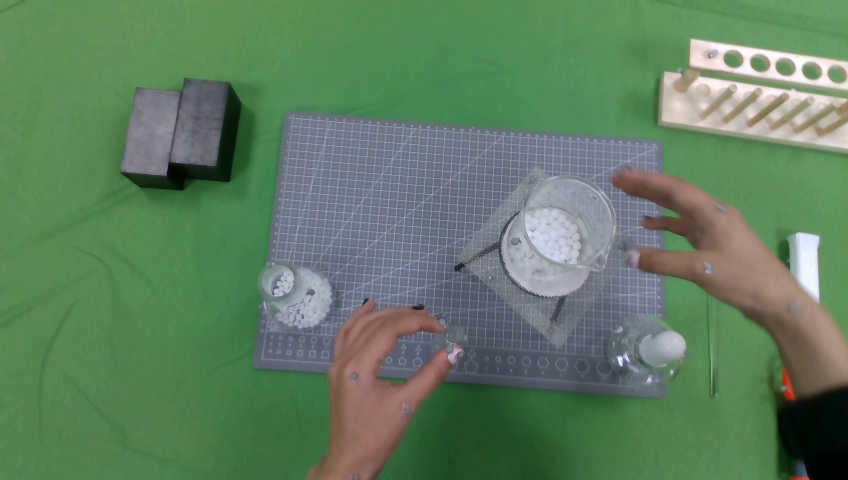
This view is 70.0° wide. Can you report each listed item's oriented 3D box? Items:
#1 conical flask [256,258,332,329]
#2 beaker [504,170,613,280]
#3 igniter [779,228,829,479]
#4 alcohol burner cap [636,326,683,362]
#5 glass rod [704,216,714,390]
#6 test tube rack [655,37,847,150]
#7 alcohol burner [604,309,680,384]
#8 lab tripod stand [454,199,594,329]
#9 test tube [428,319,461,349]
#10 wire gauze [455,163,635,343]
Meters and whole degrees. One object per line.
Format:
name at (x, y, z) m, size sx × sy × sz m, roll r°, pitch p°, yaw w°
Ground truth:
conical flask at (-0.137, 0.048, 0.612) m, size 0.075 × 0.122 × 0.075 m, roll 1°, pitch 77°, yaw -2°
beaker at (0.110, -0.005, 0.511) m, size 0.074 × 0.100 × 0.083 m, roll -34°, pitch 81°, yaw -8°
igniter at (0.418, 0.123, 0.669) m, size 0.057 × 0.025 × 0.275 m, roll 9°, pitch 78°, yaw -11°
alcohol burner cap at (0.229, 0.098, 0.583) m, size 0.034 × 0.048 × 0.033 m, roll 2°, pitch 71°, yaw -5°
glass rod at (0.323, 0.069, 0.687) m, size 0.008 × 0.008 × 0.199 m, roll 6°, pitch 80°, yaw -1°
test tube rack at (0.405, -0.167, 0.702) m, size 0.242 × 0.085 × 0.066 m, roll 8°, pitch 77°, yaw 0°
alcohol burner at (0.228, 0.107, 0.618) m, size 0.078 × 0.119 × 0.077 m, roll 0°, pitch 77°, yaw 1°
lab tripod stand at (0.107, 0.021, 0.622) m, size 0.148 × 0.132 × 0.147 m, roll 0°, pitch 79°, yaw -1°
test tube at (0.016, 0.081, 0.509) m, size 0.017 × 0.150 × 0.017 m, roll 1°, pitch 77°, yaw -3°
wire gauze at (0.111, 0.009, 0.558) m, size 0.125 × 0.011 × 0.121 m, roll 41°, pitch 82°, yaw 5°
